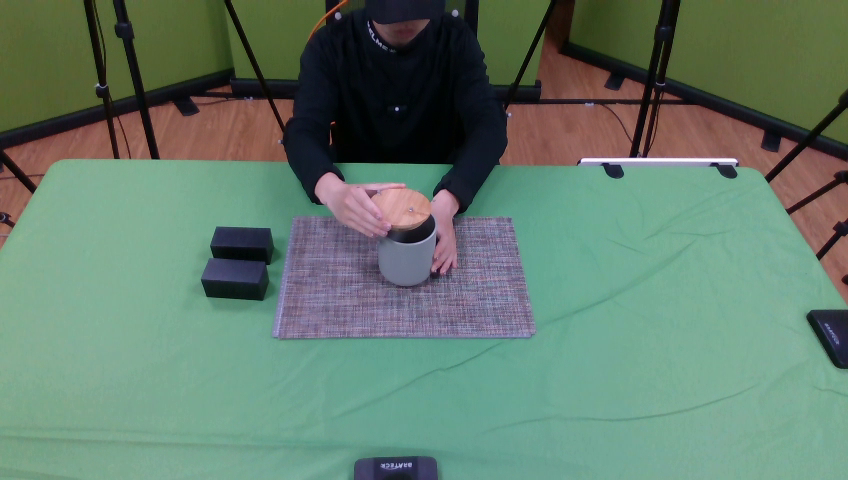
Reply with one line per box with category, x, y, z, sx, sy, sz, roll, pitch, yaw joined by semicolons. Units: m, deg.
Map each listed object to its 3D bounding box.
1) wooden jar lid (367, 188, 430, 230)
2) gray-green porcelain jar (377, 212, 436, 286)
wooden jar lid;-0.043;-0.052;1.041;0.108;0.021;0.107;2;39;-2
gray-green porcelain jar;-0.033;0.014;1.106;0.106;0.127;0.105;2;46;-2
